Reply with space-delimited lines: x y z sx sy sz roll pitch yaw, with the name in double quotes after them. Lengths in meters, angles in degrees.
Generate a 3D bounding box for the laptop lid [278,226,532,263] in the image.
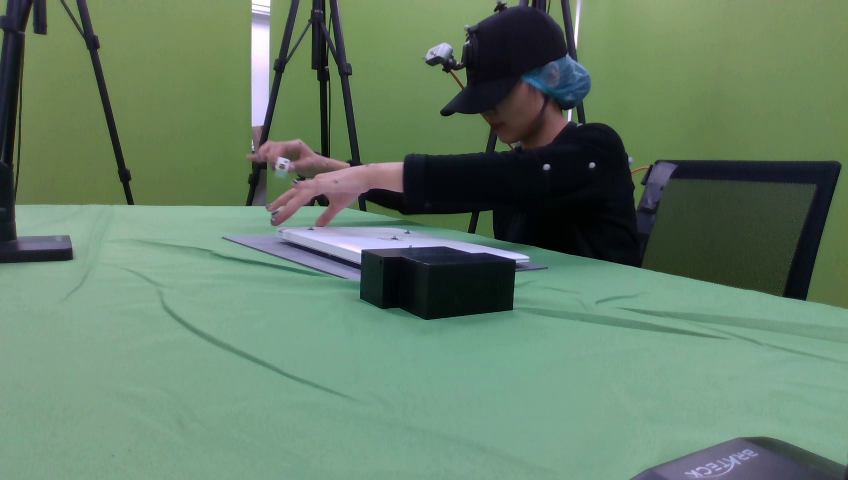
-0.043 0.001 0.893 0.243 0.013 0.355 0 7 -34 "laptop lid"

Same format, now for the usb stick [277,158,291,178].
-0.271 -0.141 1.168 0.021 0.027 0.059 14 -14 -14 "usb stick"

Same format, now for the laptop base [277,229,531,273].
-0.046 0.013 0.893 0.237 0.023 0.352 1 6 -35 "laptop base"
